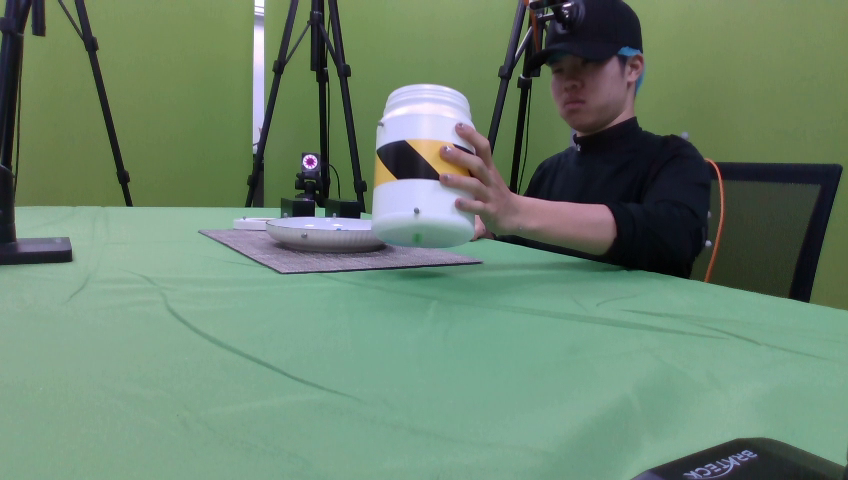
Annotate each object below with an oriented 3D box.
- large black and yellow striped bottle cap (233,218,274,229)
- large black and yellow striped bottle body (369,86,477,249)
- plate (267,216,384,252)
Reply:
[{"bbox_3d":[-0.311,-0.032,1.172,0.115,0.019,0.115,1,4,0],"label":"large black and yellow striped bottle cap"},{"bbox_3d":[0.001,-0.089,0.772,0.131,0.183,0.131,3,-12,1],"label":"large black and yellow striped bottle body"},{"bbox_3d":[-0.145,-0.010,0.967,0.208,0.039,0.207,2,7,0],"label":"plate"}]
